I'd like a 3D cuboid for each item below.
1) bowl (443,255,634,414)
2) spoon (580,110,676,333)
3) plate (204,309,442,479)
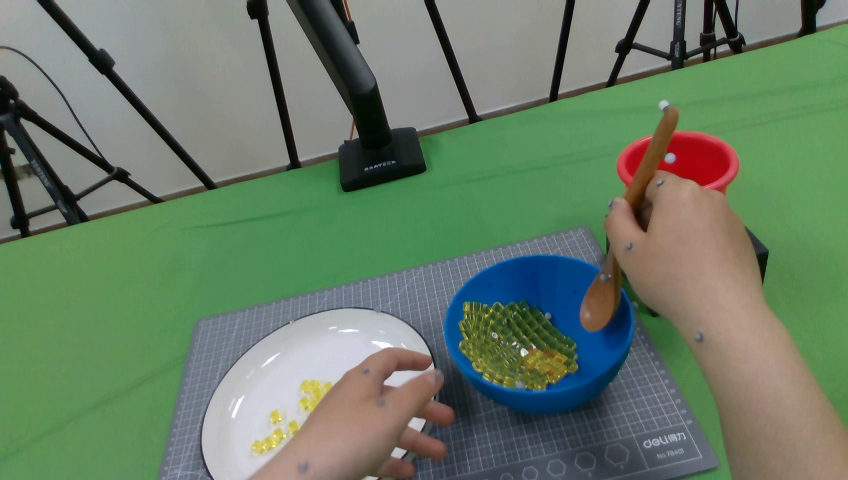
[{"bbox_3d":[0.097,0.091,0.505,0.151,0.077,0.150,-9,38,8],"label":"bowl"},{"bbox_3d":[0.140,-0.003,0.426,0.021,0.195,0.041,-1,43,-2],"label":"spoon"},{"bbox_3d":[-0.084,0.147,0.529,0.207,0.039,0.205,-9,38,8],"label":"plate"}]
